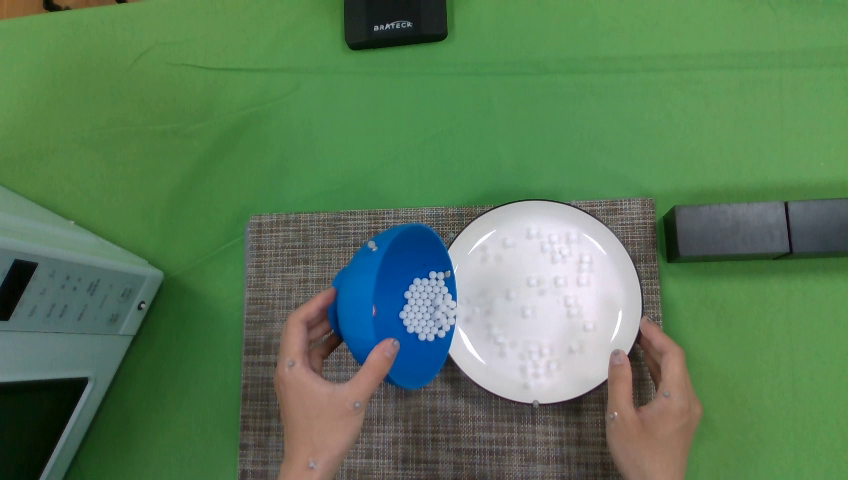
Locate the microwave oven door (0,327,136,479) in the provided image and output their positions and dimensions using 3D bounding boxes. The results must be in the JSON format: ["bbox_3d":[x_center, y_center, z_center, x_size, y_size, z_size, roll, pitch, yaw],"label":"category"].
[{"bbox_3d":[-0.432,0.238,0.558,0.039,0.245,0.355,24,85,13],"label":"microwave oven door"}]

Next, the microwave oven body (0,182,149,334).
[{"bbox_3d":[-0.544,0.143,0.595,0.325,0.261,0.441,24,86,11],"label":"microwave oven body"}]

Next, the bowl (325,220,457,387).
[{"bbox_3d":[-0.039,0.057,0.565,0.076,0.152,0.151,-1,80,30],"label":"bowl"}]

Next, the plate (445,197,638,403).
[{"bbox_3d":[0.109,0.061,0.622,0.207,0.039,0.207,-1,81,8],"label":"plate"}]

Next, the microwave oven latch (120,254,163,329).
[{"bbox_3d":[-0.321,0.058,0.673,0.030,0.029,0.079,26,86,11],"label":"microwave oven latch"}]
